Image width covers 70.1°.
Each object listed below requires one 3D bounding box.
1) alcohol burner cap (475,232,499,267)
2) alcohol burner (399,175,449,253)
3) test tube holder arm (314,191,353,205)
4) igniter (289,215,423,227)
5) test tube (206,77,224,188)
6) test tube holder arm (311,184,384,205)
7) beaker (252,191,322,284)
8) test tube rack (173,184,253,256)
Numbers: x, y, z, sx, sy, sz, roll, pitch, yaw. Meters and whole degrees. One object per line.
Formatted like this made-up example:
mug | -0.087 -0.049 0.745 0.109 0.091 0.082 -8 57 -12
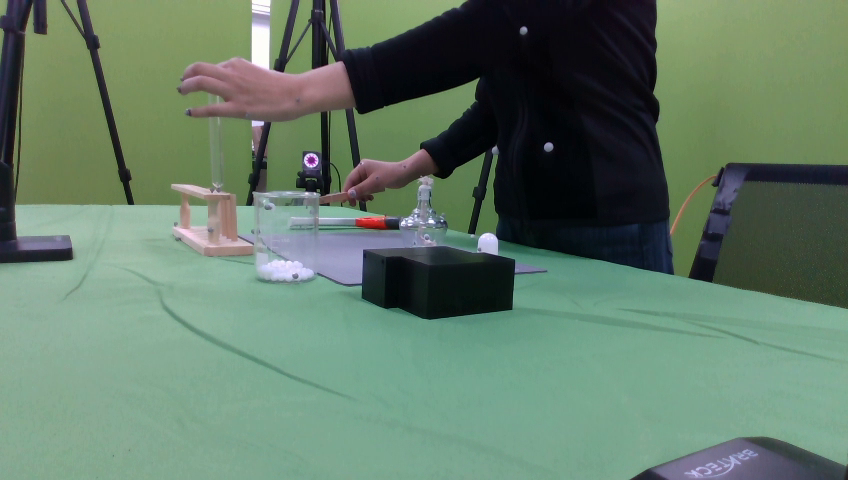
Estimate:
alcohol burner cap | 0.088 0.012 0.830 0.034 0.048 0.034 2 6 0
alcohol burner | -0.001 -0.041 0.937 0.078 0.119 0.078 0 7 0
test tube holder arm | -0.167 -0.079 1.122 0.010 0.015 0.088 7 17 40
igniter | -0.133 -0.038 1.231 0.278 0.025 0.057 -1 -2 -26
test tube | -0.289 -0.147 0.836 0.017 0.150 0.017 2 15 0
test tube holder arm | -0.142 -0.089 1.159 0.013 0.015 0.179 7 17 39
beaker | -0.159 -0.005 0.685 0.083 0.100 0.074 5 7 23
test tube rack | -0.329 -0.036 0.927 0.067 0.085 0.241 -2 9 -32
